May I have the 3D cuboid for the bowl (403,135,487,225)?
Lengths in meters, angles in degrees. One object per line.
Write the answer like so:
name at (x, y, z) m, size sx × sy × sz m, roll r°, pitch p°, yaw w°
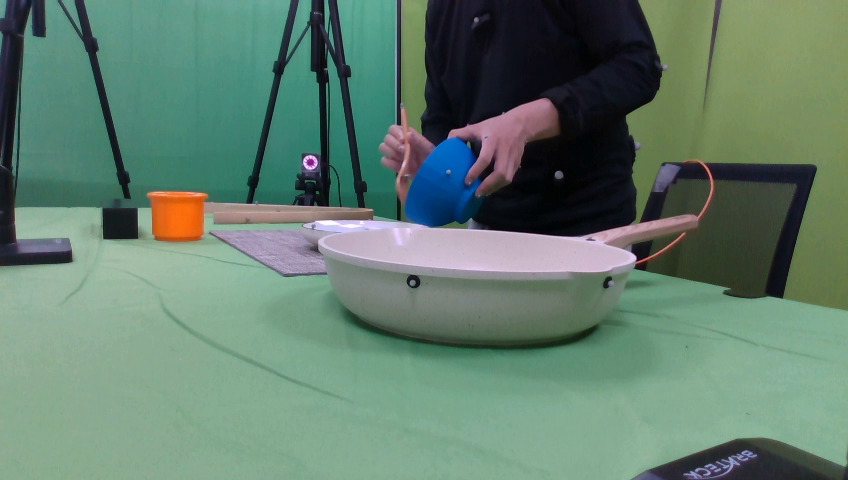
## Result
bowl at (0.044, -0.078, 0.933) m, size 0.076 × 0.151 × 0.152 m, roll 33°, pitch 18°, yaw 18°

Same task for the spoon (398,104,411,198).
spoon at (-0.029, -0.143, 0.981) m, size 0.021 × 0.193 × 0.042 m, roll -10°, pitch -28°, yaw 21°

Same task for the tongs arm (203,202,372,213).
tongs arm at (-0.312, -0.068, 1.417) m, size 0.387 × 0.026 × 0.050 m, roll 1°, pitch 8°, yaw -24°

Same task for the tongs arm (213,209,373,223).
tongs arm at (-0.274, -0.053, 1.347) m, size 0.390 × 0.028 × 0.028 m, roll -2°, pitch 7°, yaw -37°

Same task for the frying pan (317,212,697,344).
frying pan at (0.133, 0.013, 0.629) m, size 0.490 × 0.102 × 0.305 m, roll -12°, pitch 14°, yaw -31°

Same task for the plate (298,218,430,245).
plate at (-0.091, -0.006, 0.949) m, size 0.208 × 0.039 × 0.207 m, roll 2°, pitch 7°, yaw 0°
